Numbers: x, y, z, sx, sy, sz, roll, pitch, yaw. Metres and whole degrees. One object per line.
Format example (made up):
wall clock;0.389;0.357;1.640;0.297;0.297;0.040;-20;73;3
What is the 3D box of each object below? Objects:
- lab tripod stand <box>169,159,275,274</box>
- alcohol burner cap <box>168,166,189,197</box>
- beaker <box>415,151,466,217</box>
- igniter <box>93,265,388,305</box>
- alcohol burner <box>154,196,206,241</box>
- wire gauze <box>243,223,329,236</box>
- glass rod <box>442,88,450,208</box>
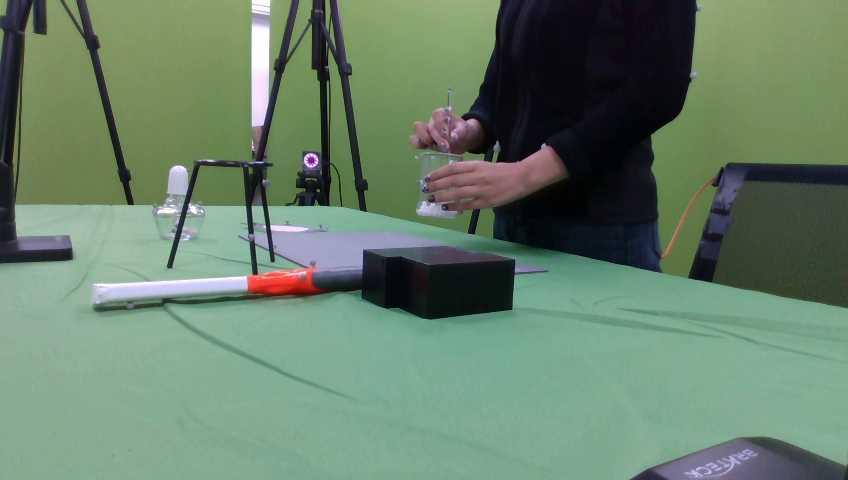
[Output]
lab tripod stand;-0.230;-0.030;0.724;0.148;0.131;0.148;1;9;0
alcohol burner cap;-0.392;-0.095;0.970;0.034;0.048;0.034;7;7;-1
beaker;0.023;-0.089;0.965;0.084;0.100;0.073;2;3;-21
igniter;-0.164;0.042;0.589;0.278;0.025;0.057;-2;-6;-31
alcohol burner;-0.393;-0.059;0.974;0.078;0.119;0.078;1;8;0
wire gauze;-0.266;-0.024;1.156;0.124;0.011;0.122;12;12;40
glass rod;0.035;-0.148;0.964;0.008;0.199;0.008;2;-8;1
